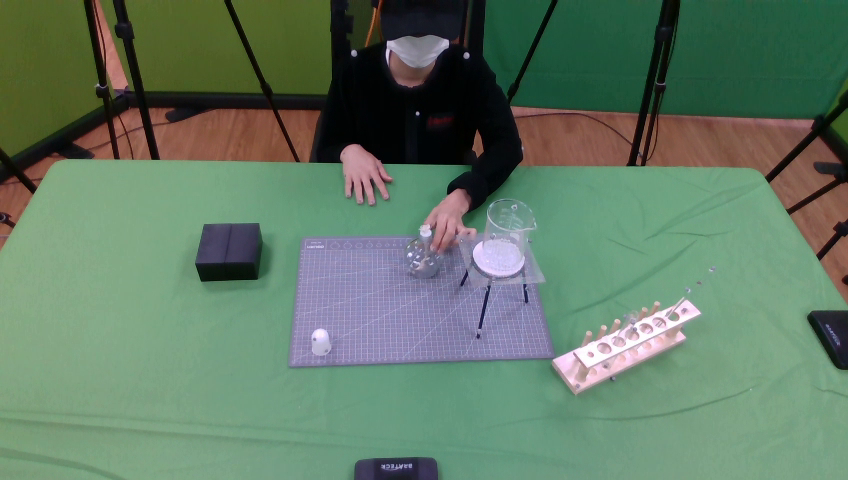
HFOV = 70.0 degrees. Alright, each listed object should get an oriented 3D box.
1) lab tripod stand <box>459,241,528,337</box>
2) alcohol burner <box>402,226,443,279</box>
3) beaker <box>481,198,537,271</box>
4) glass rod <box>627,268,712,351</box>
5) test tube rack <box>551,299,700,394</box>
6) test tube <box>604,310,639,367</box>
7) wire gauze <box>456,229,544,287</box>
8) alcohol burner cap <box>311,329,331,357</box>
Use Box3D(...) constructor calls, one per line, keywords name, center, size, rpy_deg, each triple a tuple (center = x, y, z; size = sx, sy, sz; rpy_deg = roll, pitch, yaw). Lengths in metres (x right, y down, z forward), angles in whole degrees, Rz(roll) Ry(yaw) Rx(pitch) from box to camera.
Box3D(name="lab tripod stand", center=(0.122, 0.075, 1.054), size=(0.148, 0.132, 0.147), rpy_deg=(3, 44, -3))
Box3D(name="alcohol burner", center=(-0.002, 0.015, 1.116), size=(0.078, 0.119, 0.077), rpy_deg=(2, 48, -2))
Box3D(name="beaker", center=(0.133, -0.005, 0.974), size=(0.084, 0.101, 0.074), rpy_deg=(23, 49, 16))
Box3D(name="glass rod", center=(0.399, 0.117, 0.995), size=(0.008, 0.200, 0.008), rpy_deg=(26, 29, -16))
Box3D(name="test tube rack", center=(0.339, 0.166, 1.021), size=(0.242, 0.085, 0.066), rpy_deg=(-19, 50, -21))
Box3D(name="test tube", center=(0.310, 0.158, 0.957), size=(0.017, 0.151, 0.017), rpy_deg=(1, 49, -1))
Box3D(name="wire gauze", center=(0.125, 0.030, 1.008), size=(0.125, 0.011, 0.120), rpy_deg=(-3, 48, -11))
Box3D(name="alcohol burner cap", center=(-0.173, 0.168, 1.005), size=(0.034, 0.048, 0.033), rpy_deg=(2, 46, -2))
